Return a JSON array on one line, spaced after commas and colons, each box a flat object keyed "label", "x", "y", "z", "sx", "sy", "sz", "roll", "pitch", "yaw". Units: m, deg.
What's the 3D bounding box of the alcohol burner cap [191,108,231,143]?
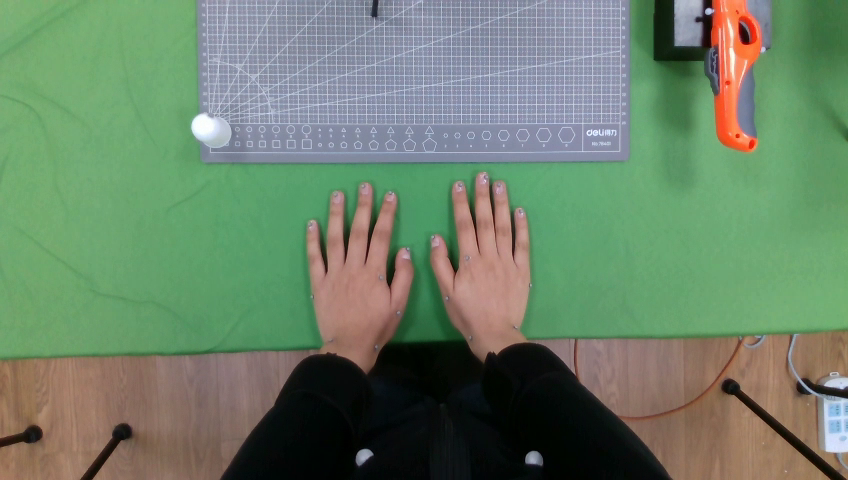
[{"label": "alcohol burner cap", "x": -0.216, "y": -0.116, "z": 0.605, "sx": 0.034, "sy": 0.048, "sz": 0.034, "roll": 0, "pitch": 90, "yaw": -3}]

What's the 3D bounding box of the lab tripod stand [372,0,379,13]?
[{"label": "lab tripod stand", "x": -0.009, "y": -0.294, "z": 0.563, "sx": 0.148, "sy": 0.131, "sz": 0.148, "roll": 0, "pitch": 92, "yaw": -1}]

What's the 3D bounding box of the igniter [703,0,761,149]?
[{"label": "igniter", "x": 0.299, "y": -0.227, "z": 0.591, "sx": 0.057, "sy": 0.025, "sz": 0.276, "roll": -2, "pitch": 90, "yaw": -6}]
